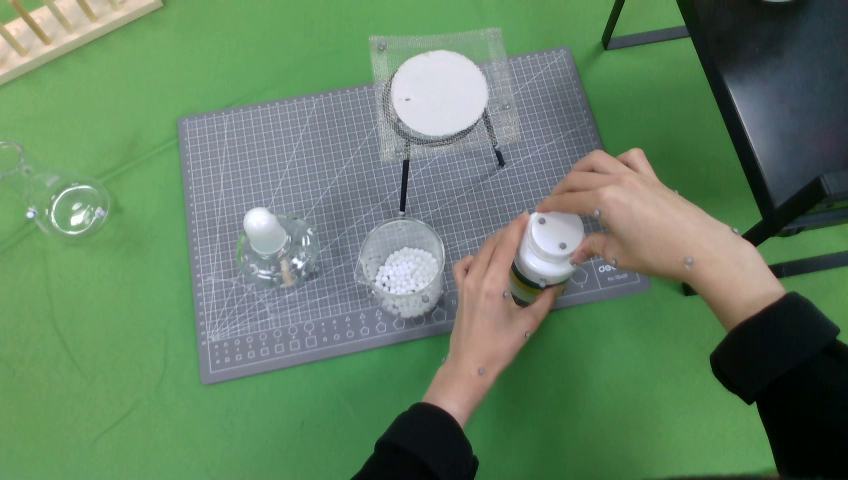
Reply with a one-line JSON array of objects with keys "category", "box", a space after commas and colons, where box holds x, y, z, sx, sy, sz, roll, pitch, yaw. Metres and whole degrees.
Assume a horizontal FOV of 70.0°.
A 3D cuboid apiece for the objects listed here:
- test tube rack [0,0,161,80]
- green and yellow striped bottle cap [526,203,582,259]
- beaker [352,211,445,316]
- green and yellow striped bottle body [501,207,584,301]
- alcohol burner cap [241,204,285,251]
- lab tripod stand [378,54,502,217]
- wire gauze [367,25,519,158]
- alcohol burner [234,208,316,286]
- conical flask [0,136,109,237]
[{"category": "test tube rack", "box": [-0.435, -0.265, 0.677, 0.242, 0.086, 0.066, -31, 73, -10]}, {"category": "green and yellow striped bottle cap", "box": [0.108, -0.008, 0.503, 0.045, 0.020, 0.045, 0, 73, 1]}, {"category": "beaker", "box": [-0.021, 0.029, 0.563, 0.084, 0.101, 0.073, -23, 71, -6]}, {"category": "green and yellow striped bottle body", "box": [0.108, 0.011, 0.557, 0.063, 0.120, 0.062, 0, 70, 1]}, {"category": "alcohol burner cap", "box": [-0.144, -0.014, 0.533, 0.034, 0.048, 0.033, 1, 64, -1]}, {"category": "lab tripod stand", "box": [0.010, -0.106, 0.591, 0.148, 0.132, 0.147, 0, 69, 0]}, {"category": "wire gauze", "box": [0.015, -0.134, 0.529, 0.121, 0.011, 0.124, -6, 71, -3]}, {"category": "alcohol burner", "box": [-0.143, 0.000, 0.567, 0.078, 0.120, 0.077, 0, 69, -1]}, {"category": "conical flask", "box": [-0.370, -0.056, 0.586, 0.075, 0.122, 0.075, 0, 70, 1]}]
